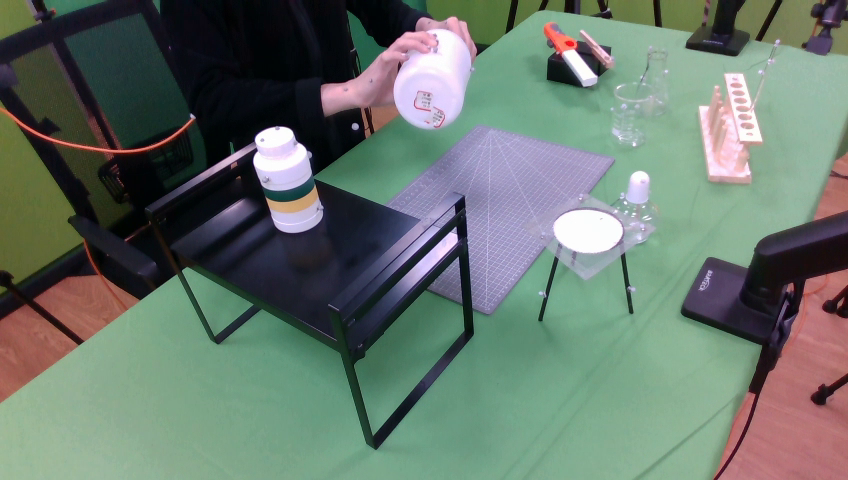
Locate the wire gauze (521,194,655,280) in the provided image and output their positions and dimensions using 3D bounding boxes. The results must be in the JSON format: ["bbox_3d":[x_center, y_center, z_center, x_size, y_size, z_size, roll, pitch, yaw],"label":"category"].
[{"bbox_3d":[0.207,-0.012,0.772,0.122,0.011,0.124,-28,44,-20],"label":"wire gauze"}]

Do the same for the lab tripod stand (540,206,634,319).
[{"bbox_3d":[0.218,0.034,0.821,0.148,0.132,0.147,-4,42,4],"label":"lab tripod stand"}]

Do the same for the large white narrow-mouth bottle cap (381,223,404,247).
[{"bbox_3d":[-0.052,-0.009,0.992,0.038,0.024,0.037,-5,39,4],"label":"large white narrow-mouth bottle cap"}]

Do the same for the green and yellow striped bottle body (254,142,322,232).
[{"bbox_3d":[-0.165,-0.073,0.732,0.063,0.120,0.063,-4,41,4],"label":"green and yellow striped bottle body"}]

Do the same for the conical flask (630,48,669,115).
[{"bbox_3d":[0.456,-0.317,1.205,0.075,0.122,0.075,-4,41,4],"label":"conical flask"}]

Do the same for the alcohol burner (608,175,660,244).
[{"bbox_3d":[0.322,-0.053,0.924,0.078,0.119,0.077,-4,43,4],"label":"alcohol burner"}]

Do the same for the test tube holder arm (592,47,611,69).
[{"bbox_3d":[0.386,-0.398,1.317,0.010,0.015,0.087,-10,41,-3],"label":"test tube holder arm"}]

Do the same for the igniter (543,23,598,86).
[{"bbox_3d":[0.320,-0.419,1.345,0.057,0.025,0.274,-12,44,-3],"label":"igniter"}]

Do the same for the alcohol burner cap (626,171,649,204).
[{"bbox_3d":[0.320,-0.081,0.900,0.034,0.048,0.033,-4,42,4],"label":"alcohol burner cap"}]

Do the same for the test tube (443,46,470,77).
[{"bbox_3d":[0.059,-0.308,1.052,0.017,0.017,0.151,7,3,16],"label":"test tube"}]

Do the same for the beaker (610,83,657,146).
[{"bbox_3d":[0.388,-0.235,1.138,0.074,0.101,0.083,-31,45,-25],"label":"beaker"}]

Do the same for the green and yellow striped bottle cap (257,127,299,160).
[{"bbox_3d":[-0.169,-0.112,0.698,0.045,0.020,0.045,-5,40,5],"label":"green and yellow striped bottle cap"}]

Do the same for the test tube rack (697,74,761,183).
[{"bbox_3d":[0.547,-0.208,1.095,0.066,0.085,0.242,5,42,15],"label":"test tube rack"}]

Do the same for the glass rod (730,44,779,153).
[{"bbox_3d":[0.555,-0.234,1.020,0.008,0.200,0.008,2,40,-1],"label":"glass rod"}]

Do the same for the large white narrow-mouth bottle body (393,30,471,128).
[{"bbox_3d":[0.019,-0.254,0.901,0.101,0.102,0.194,2,40,11],"label":"large white narrow-mouth bottle body"}]

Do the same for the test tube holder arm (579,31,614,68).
[{"bbox_3d":[0.384,-0.428,1.351,0.013,0.015,0.177,-11,41,-4],"label":"test tube holder arm"}]
